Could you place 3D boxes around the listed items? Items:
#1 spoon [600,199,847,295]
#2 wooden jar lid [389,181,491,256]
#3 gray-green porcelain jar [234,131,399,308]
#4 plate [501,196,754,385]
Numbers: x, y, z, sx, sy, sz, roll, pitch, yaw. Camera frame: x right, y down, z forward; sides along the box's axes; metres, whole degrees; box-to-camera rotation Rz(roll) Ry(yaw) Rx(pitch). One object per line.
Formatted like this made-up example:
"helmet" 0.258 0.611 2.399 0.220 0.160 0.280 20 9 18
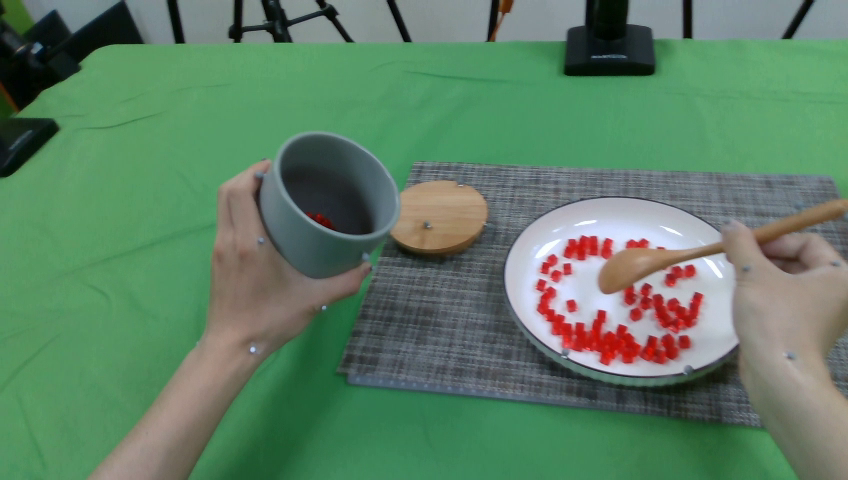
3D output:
"spoon" 0.217 0.005 0.459 0.193 0.022 0.041 -21 37 39
"wooden jar lid" 0.016 -0.022 0.637 0.108 0.021 0.107 -4 44 4
"gray-green porcelain jar" -0.096 -0.010 0.510 0.106 0.127 0.105 20 47 -22
"plate" 0.173 0.042 0.534 0.207 0.039 0.205 -4 45 5
